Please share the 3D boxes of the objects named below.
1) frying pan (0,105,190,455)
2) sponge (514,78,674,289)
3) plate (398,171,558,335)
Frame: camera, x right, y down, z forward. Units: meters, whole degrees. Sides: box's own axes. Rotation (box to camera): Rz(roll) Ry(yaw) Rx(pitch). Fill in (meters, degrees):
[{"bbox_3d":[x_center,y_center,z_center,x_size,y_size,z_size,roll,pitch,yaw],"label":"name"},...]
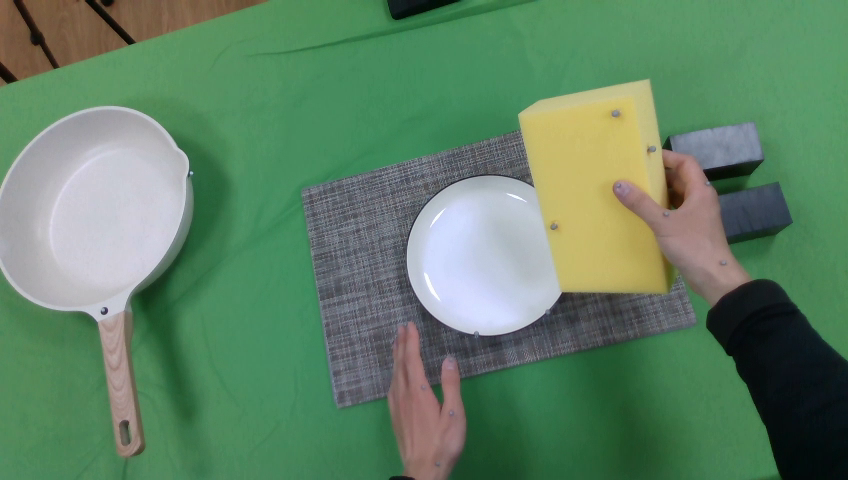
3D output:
[{"bbox_3d":[-0.425,0.045,0.806,0.307,0.103,0.483,-22,65,5],"label":"frying pan"},{"bbox_3d":[0.181,-0.052,0.634,0.117,0.061,0.208,-4,113,36],"label":"sponge"},{"bbox_3d":[0.073,0.017,0.760,0.207,0.039,0.206,-2,76,9],"label":"plate"}]
